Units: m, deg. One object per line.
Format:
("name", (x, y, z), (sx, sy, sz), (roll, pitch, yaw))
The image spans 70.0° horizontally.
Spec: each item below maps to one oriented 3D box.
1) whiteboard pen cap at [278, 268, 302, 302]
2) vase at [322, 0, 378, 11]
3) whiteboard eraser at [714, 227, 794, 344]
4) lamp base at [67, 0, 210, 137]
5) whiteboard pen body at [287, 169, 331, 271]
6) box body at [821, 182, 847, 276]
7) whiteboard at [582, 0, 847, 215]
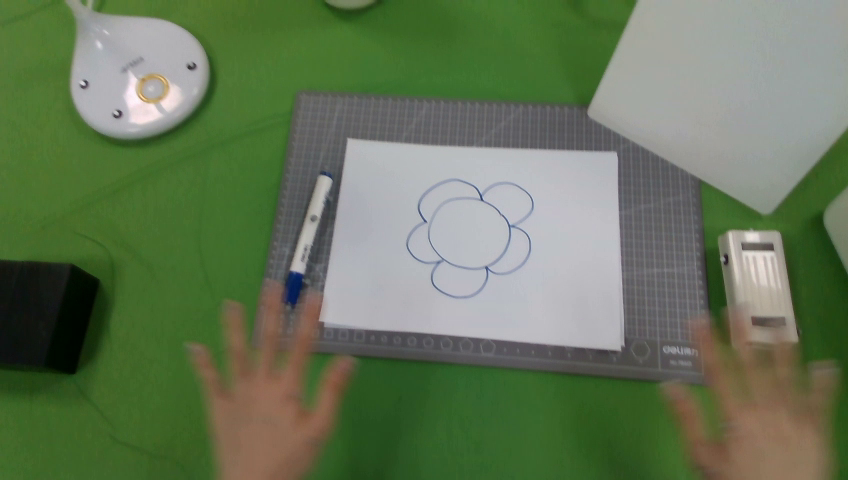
("whiteboard pen cap", (-0.136, 0.045, 0.616), (0.018, 0.018, 0.033), (11, 72, 7))
("vase", (-0.095, -0.351, 0.667), (0.098, 0.201, 0.097), (-1, 69, 4))
("whiteboard eraser", (0.317, 0.044, 0.587), (0.055, 0.042, 0.112), (2, 70, 2))
("lamp base", (-0.345, -0.226, 0.642), (0.178, 0.181, 0.160), (36, 75, 18))
("whiteboard pen body", (-0.123, -0.010, 0.632), (0.017, 0.017, 0.140), (12, 73, 7))
("box body", (0.549, 0.065, 0.505), (0.254, 0.161, 0.361), (-14, 69, -3))
("whiteboard", (0.328, -0.213, 0.574), (0.216, 0.307, 0.143), (34, 54, 15))
